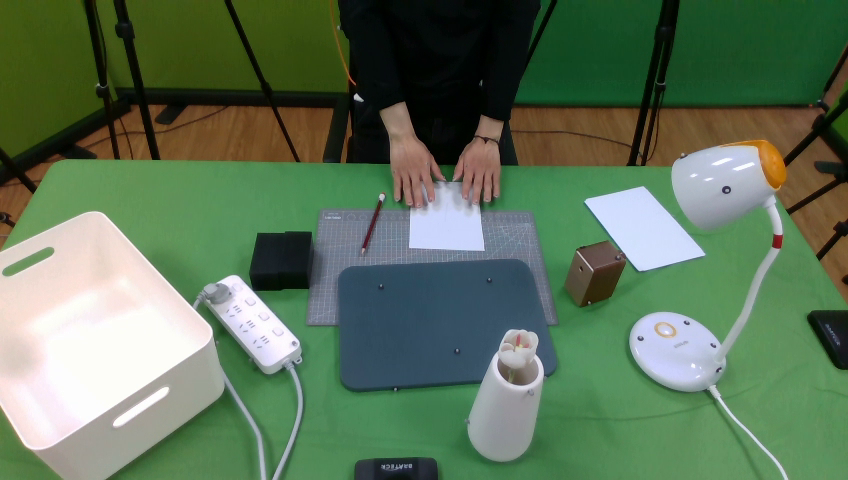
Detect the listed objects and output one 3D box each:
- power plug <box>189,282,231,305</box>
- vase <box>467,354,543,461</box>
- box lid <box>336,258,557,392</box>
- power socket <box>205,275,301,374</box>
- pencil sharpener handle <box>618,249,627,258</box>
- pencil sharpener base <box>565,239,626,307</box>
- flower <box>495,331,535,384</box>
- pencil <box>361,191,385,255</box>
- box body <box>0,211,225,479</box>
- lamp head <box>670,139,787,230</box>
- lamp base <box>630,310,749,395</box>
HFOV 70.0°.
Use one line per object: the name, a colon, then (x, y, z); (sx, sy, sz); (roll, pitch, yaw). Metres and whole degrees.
power plug: (-0.368, 0.097, 1.039); (0.072, 0.053, 0.035); (-26, 55, -20)
vase: (0.116, 0.234, 0.861); (0.098, 0.201, 0.097); (1, 47, -1)
box lid: (0.030, 0.140, 1.073); (0.372, 0.015, 0.261); (-3, 47, -7)
power socket: (-0.296, 0.140, 1.035); (0.072, 0.033, 0.225); (-32, 57, -29)
pencil sharpener handle: (0.359, 0.036, 1.113); (0.031, 0.068, 0.036); (-15, 62, -18)
pencil sharpener base: (0.313, 0.060, 1.104); (0.077, 0.107, 0.061); (-15, 49, -18)
flower: (0.110, 0.187, 0.791); (0.044, 0.363, 0.038); (-32, 65, -10)
pencil: (-0.104, -0.037, 1.229); (0.012, 0.012, 0.193); (9, 45, 5)
box body: (-0.504, 0.154, 0.916); (0.362, 0.161, 0.254); (36, 54, 27)
lamp head: (0.415, -0.079, 0.812); (0.113, 0.123, 0.112); (12, 70, -37)
lamp base: (0.447, 0.142, 0.984); (0.161, 0.181, 0.178); (-24, 55, -24)
